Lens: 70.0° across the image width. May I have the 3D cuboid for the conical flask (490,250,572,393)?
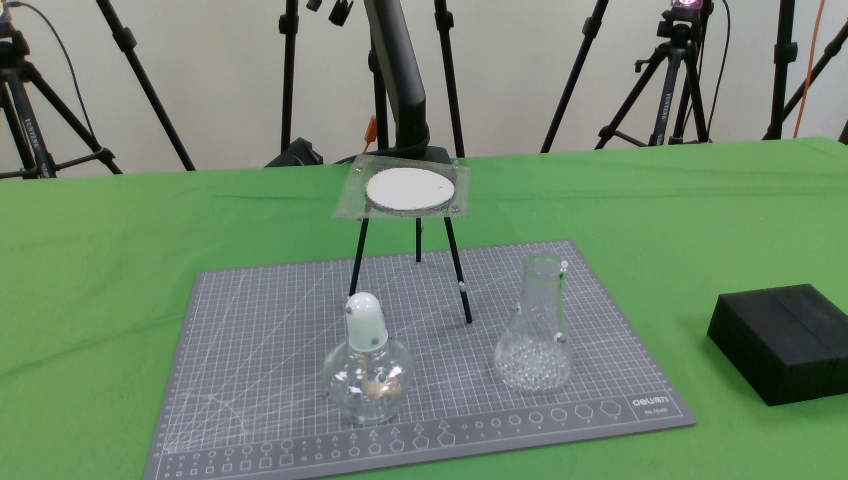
[{"bbox_3d":[0.099,0.068,0.532,0.075,0.123,0.074,0,33,0],"label":"conical flask"}]

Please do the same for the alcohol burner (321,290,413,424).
[{"bbox_3d":[-0.048,0.092,0.500,0.078,0.120,0.077,0,31,1],"label":"alcohol burner"}]

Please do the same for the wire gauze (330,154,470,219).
[{"bbox_3d":[-0.018,-0.052,0.583,0.121,0.011,0.124,4,33,4],"label":"wire gauze"}]

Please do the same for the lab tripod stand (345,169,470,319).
[{"bbox_3d":[-0.011,0.005,0.620,0.148,0.132,0.147,2,32,-1],"label":"lab tripod stand"}]

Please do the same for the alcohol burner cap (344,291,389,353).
[{"bbox_3d":[-0.047,0.062,0.480,0.034,0.048,0.033,-4,36,4],"label":"alcohol burner cap"}]
